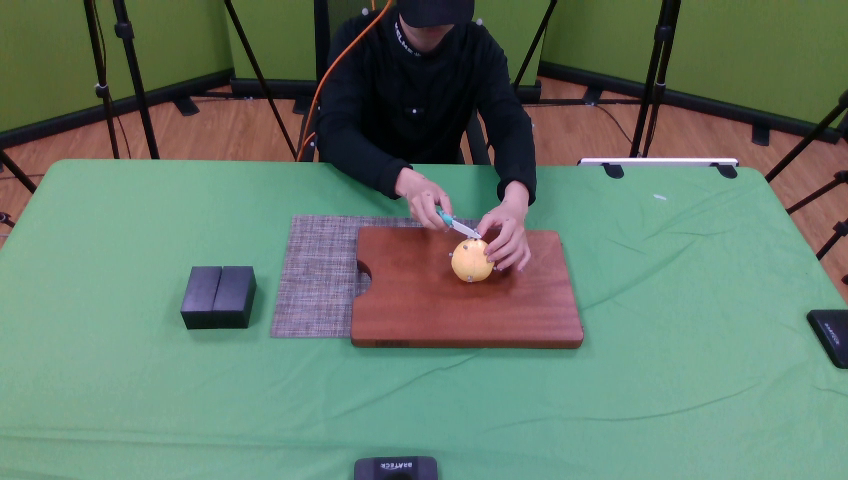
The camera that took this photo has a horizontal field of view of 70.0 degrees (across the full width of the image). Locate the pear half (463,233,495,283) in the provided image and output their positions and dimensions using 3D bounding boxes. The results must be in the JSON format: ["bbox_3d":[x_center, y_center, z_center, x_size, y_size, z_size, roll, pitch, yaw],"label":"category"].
[{"bbox_3d":[0.100,0.024,1.085,0.056,0.110,0.076,-15,52,-18],"label":"pear half"}]

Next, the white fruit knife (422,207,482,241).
[{"bbox_3d":[0.049,-0.030,1.095,0.016,0.027,0.206,-32,28,-18],"label":"white fruit knife"}]

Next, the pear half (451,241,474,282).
[{"bbox_3d":[0.065,0.038,1.083,0.031,0.088,0.070,-14,51,-18],"label":"pear half"}]
